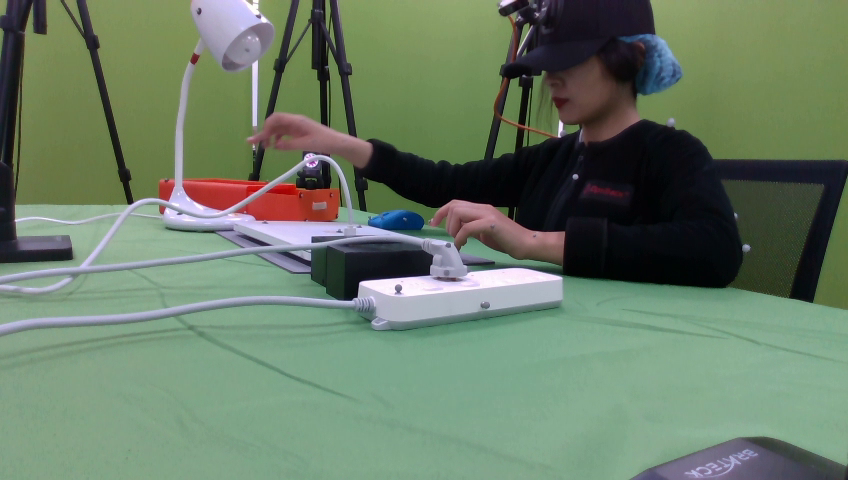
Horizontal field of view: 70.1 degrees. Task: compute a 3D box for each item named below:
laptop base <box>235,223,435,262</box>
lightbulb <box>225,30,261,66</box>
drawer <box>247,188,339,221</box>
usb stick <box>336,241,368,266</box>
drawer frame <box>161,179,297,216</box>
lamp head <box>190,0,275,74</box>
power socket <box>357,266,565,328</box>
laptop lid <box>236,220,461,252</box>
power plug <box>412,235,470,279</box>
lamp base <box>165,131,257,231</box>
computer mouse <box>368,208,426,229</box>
[{"bbox_3d":[-0.135,0.002,0.949,0.237,0.023,0.352,2,6,-33],"label":"laptop base"},{"bbox_3d":[-0.317,-0.335,1.001,0.107,0.059,0.059,45,15,5],"label":"lightbulb"},{"bbox_3d":[-0.315,-0.078,1.301,0.211,0.073,0.195,4,8,15],"label":"drawer"},{"bbox_3d":[-0.093,0.016,0.748,0.021,0.027,0.059,-4,5,-36],"label":"usb stick"},{"bbox_3d":[-0.421,-0.089,1.329,0.213,0.082,0.202,4,8,16],"label":"drawer frame"},{"bbox_3d":[-0.330,-0.355,1.008,0.123,0.112,0.112,43,15,6],"label":"lamp head"},{"bbox_3d":[0.041,0.049,0.572,0.228,0.032,0.072,-3,8,-35],"label":"power socket"},{"bbox_3d":[-0.133,-0.010,0.949,0.243,0.013,0.355,0,7,-32],"label":"laptop lid"},{"bbox_3d":[0.017,0.023,0.588,0.035,0.052,0.072,-1,8,-24],"label":"power plug"},{"bbox_3d":[-0.407,-0.112,1.119,0.179,0.180,0.161,-1,7,7],"label":"lamp base"},{"bbox_3d":[-0.057,-0.044,1.267,0.118,0.041,0.062,-6,12,-28],"label":"computer mouse"}]
